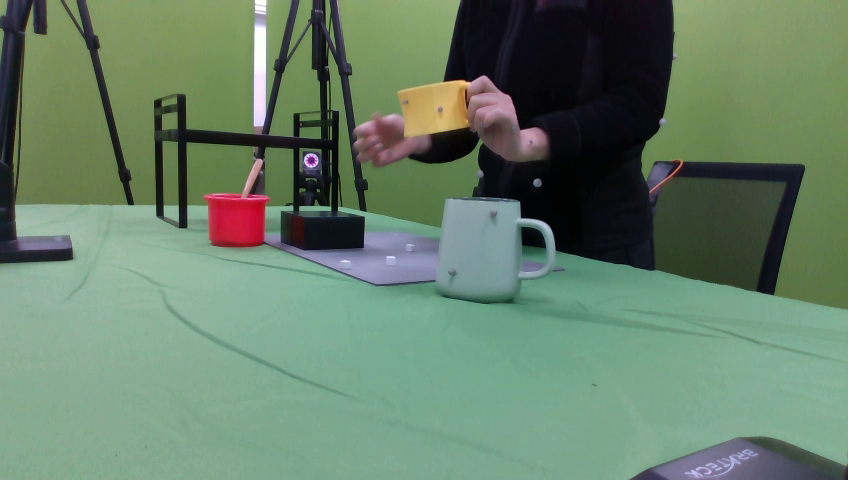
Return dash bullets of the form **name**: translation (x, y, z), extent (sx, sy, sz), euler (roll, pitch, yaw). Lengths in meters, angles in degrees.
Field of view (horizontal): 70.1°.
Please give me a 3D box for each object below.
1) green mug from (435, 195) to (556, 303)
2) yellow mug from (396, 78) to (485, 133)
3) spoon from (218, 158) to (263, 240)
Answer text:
- **green mug**: translation (0.074, 0.009, 0.624), extent (0.125, 0.105, 0.093), euler (5, 7, 24)
- **yellow mug**: translation (0.027, -0.192, 0.855), extent (0.130, 0.064, 0.100), euler (-1, 14, 31)
- **spoon**: translation (-0.288, -0.070, 0.974), extent (0.041, 0.021, 0.193), euler (5, 51, 2)
